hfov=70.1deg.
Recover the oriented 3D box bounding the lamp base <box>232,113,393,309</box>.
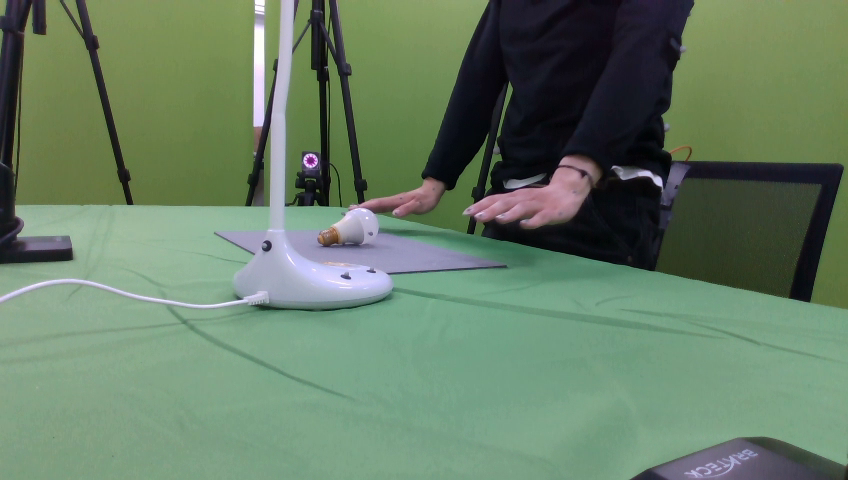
[{"bbox_3d":[-0.113,-0.032,0.595,0.160,0.180,0.179,4,10,17],"label":"lamp base"}]

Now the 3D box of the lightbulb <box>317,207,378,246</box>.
[{"bbox_3d":[-0.123,-0.016,0.968,0.108,0.059,0.059,-21,20,-33],"label":"lightbulb"}]
